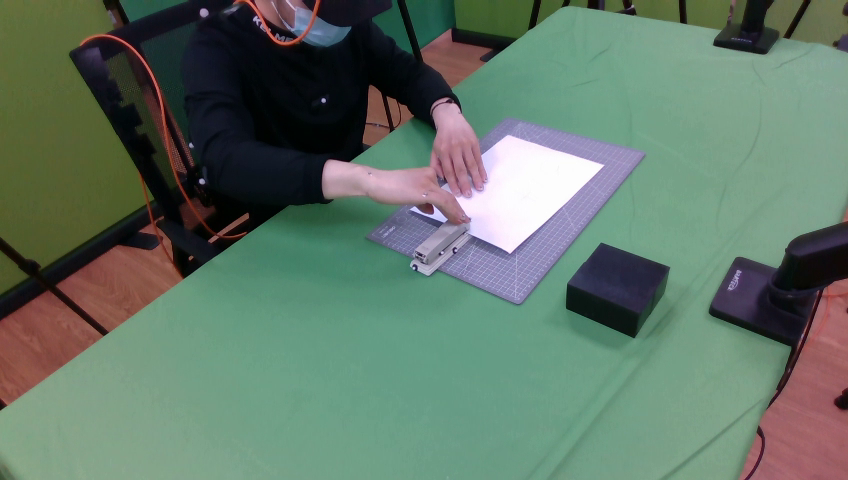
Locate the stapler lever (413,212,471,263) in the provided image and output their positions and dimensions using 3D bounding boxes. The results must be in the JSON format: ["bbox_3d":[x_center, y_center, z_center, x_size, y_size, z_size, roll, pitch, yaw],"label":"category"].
[{"bbox_3d":[0.031,-0.006,0.946,0.026,0.040,0.118,23,39,35],"label":"stapler lever"}]

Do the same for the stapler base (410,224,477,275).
[{"bbox_3d":[0.032,0.004,0.956,0.041,0.024,0.131,23,50,35],"label":"stapler base"}]
